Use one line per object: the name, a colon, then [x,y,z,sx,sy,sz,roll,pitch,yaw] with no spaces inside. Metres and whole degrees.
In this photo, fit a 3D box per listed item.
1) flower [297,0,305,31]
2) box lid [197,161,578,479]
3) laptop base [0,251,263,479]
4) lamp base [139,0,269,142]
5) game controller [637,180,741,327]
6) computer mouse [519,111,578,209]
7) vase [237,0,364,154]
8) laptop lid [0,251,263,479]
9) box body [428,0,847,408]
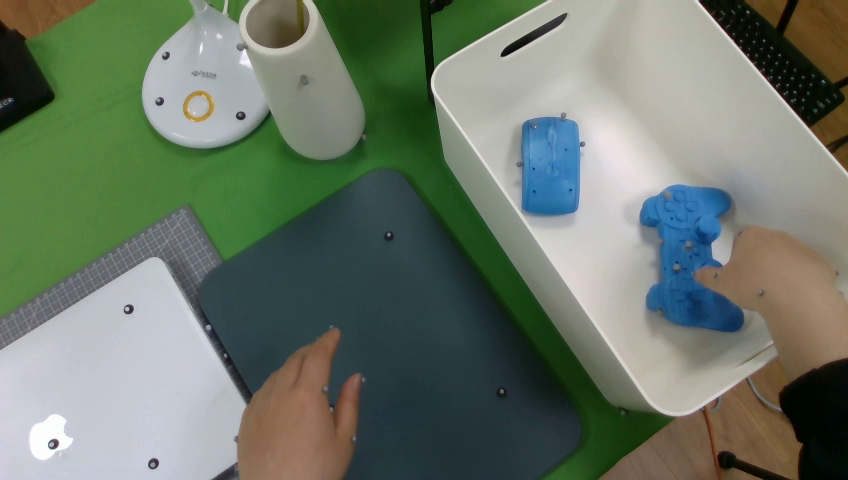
flower: [-0.109,-0.200,0.537,0.038,0.364,0.043,-20,64,-21]
box lid: [-0.045,0.112,0.629,0.263,0.015,0.369,-34,76,-8]
laptop base: [-0.366,0.196,0.614,0.354,0.023,0.234,-33,79,-7]
lamp base: [-0.259,-0.223,0.645,0.160,0.181,0.178,-1,71,2]
game controller: [0.273,0.009,0.622,0.097,0.052,0.154,1,74,7]
computer mouse: [0.135,-0.090,0.660,0.063,0.041,0.116,3,70,6]
vase: [-0.122,-0.166,0.613,0.098,0.201,0.097,-1,73,4]
laptop lid: [-0.365,0.195,0.602,0.357,0.013,0.240,-32,78,-7]
box body: [0.199,-0.050,0.588,0.254,0.161,0.362,-31,75,-6]
